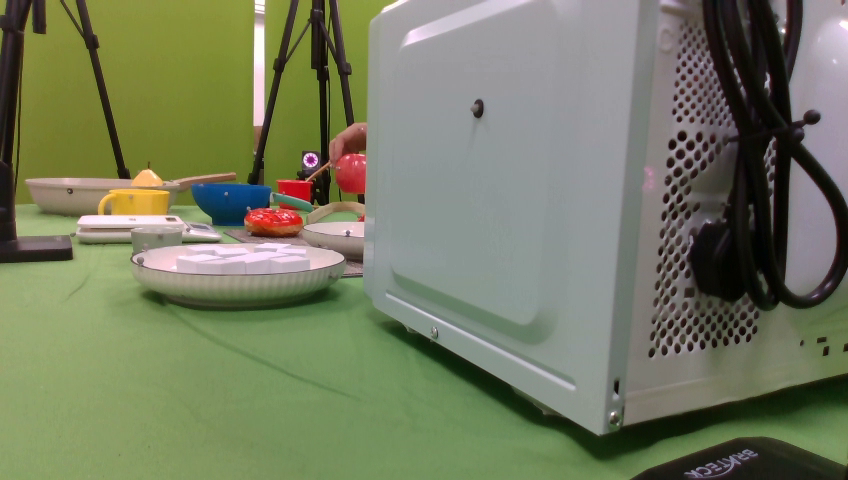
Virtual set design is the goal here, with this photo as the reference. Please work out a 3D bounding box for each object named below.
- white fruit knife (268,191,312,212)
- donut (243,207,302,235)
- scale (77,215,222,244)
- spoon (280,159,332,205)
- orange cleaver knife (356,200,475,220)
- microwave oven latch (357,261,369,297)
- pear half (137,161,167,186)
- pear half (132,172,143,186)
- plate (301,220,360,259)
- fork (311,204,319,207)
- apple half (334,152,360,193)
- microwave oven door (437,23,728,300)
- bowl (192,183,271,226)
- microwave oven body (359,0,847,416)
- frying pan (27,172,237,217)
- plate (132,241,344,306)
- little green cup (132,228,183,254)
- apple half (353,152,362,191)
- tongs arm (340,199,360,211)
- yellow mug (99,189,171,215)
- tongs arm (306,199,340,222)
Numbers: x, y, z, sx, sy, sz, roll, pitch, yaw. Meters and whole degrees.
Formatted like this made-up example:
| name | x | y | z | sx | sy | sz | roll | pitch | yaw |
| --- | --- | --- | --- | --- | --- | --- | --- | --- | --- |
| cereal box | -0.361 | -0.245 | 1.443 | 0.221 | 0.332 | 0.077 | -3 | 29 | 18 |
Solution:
| name | x | y | z | sx | sy | sz | roll | pitch | yaw |
| --- | --- | --- | --- | --- | --- | --- | --- | --- | --- |
| white fruit knife | -0.364 | -0.105 | 1.464 | 0.208 | 0.027 | 0.016 | 15 | 0 | -34 |
| donut | -0.261 | -0.032 | 1.043 | 0.099 | 0.048 | 0.099 | 4 | 9 | 0 |
| scale | -0.434 | -0.019 | 0.963 | 0.202 | 0.031 | 0.148 | -1 | 9 | -27 |
| spoon | -0.316 | -0.159 | 1.640 | 0.194 | 0.022 | 0.041 | -50 | 31 | -20 |
| orange cleaver knife | -0.016 | -0.052 | 1.085 | 0.212 | 0.012 | 0.077 | -5 | -10 | -7 |
| microwave oven latch | -0.019 | 0.033 | 0.531 | 0.079 | 0.029 | 0.030 | -1 | 7 | -27 |
| pear half | -0.602 | -0.120 | 1.354 | 0.056 | 0.110 | 0.076 | 4 | 11 | 6 |
| pear half | -0.638 | -0.113 | 1.361 | 0.031 | 0.088 | 0.070 | 5 | 10 | 4 |
| plate | -0.077 | -0.002 | 0.893 | 0.209 | 0.038 | 0.209 | 3 | 8 | 0 |
| fork | -0.356 | -0.105 | 1.526 | 0.208 | 0.018 | 0.028 | 16 | -6 | -41 |
| apple half | -0.141 | -0.125 | 1.133 | 0.053 | 0.074 | 0.081 | -5 | 4 | 15 |
| microwave oven door | 0.181 | -0.072 | 0.621 | 0.358 | 0.243 | 0.039 | -2 | 8 | -29 |
| bowl | -0.382 | -0.071 | 1.202 | 0.151 | 0.077 | 0.151 | 3 | 7 | 0 |
| microwave oven body | 0.211 | -0.047 | 0.474 | 0.444 | 0.260 | 0.324 | -1 | 7 | -28 |
| frying pan | -0.624 | -0.118 | 1.387 | 0.305 | 0.102 | 0.490 | 8 | 17 | 32 |
| plate | -0.187 | 0.033 | 0.625 | 0.208 | 0.039 | 0.207 | 2 | 8 | 0 |
| little green cup | -0.342 | 0.006 | 0.779 | 0.061 | 0.038 | 0.061 | 2 | 8 | 0 |
| apple half | -0.103 | -0.128 | 1.124 | 0.033 | 0.081 | 0.081 | -5 | 5 | 15 |
| tongs arm | -0.149 | -0.071 | 1.429 | 0.051 | 0.026 | 0.383 | -4 | 9 | -15 |
| yellow mug | -0.518 | -0.055 | 1.080 | 0.099 | 0.064 | 0.131 | 6 | 9 | 26 |
| tongs arm | -0.235 | -0.068 | 1.414 | 0.028 | 0.028 | 0.387 | -6 | 8 | 1 |
